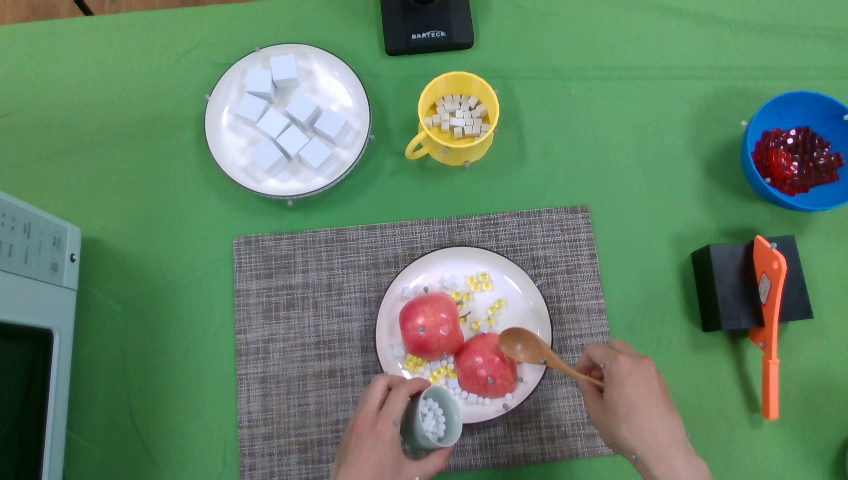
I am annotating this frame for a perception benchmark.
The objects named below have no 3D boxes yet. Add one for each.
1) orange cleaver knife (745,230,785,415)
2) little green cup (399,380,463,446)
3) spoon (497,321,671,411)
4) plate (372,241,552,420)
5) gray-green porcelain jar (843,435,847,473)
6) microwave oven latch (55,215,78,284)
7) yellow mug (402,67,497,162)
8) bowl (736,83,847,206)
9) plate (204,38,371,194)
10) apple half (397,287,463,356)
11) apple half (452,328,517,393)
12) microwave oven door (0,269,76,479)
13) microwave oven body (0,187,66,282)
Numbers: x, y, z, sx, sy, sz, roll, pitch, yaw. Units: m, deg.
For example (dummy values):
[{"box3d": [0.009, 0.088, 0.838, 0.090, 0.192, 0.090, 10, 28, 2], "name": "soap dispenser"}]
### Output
[{"box3d": [0.391, 0.095, 0.701, 0.012, 0.077, 0.212, -4, 102, 3], "name": "orange cleaver knife"}, {"box3d": [0.006, 0.180, 0.621, 0.062, 0.039, 0.061, 22, 47, -25], "name": "little green cup"}, {"box3d": [0.159, 0.133, 0.629, 0.192, 0.022, 0.042, 23, 114, 36], "name": "spoon"}, {"box3d": [0.043, 0.105, 0.716, 0.209, 0.038, 0.208, 0, 78, 0], "name": "plate"}, {"box3d": [0.533, 0.242, 0.649, 0.106, 0.127, 0.105, 0, 78, 0], "name": "gray-green porcelain jar"}, {"box3d": [-0.431, 0.011, 0.717, 0.030, 0.029, 0.079, -1, 79, -1], "name": "microwave oven latch"}, {"box3d": [0.026, -0.147, 0.758, 0.131, 0.064, 0.099, -37, 80, -7], "name": "yellow mug"}, {"box3d": [0.450, -0.106, 0.746, 0.151, 0.077, 0.150, 0, 78, 0], "name": "bowl"}, {"box3d": [-0.171, -0.155, 0.773, 0.208, 0.039, 0.206, 0, 78, 0], "name": "plate"}, {"box3d": [0.006, 0.093, 0.702, 0.074, 0.053, 0.080, -8, 79, 1], "name": "apple half"}, {"box3d": [0.071, 0.140, 0.702, 0.081, 0.033, 0.081, 0, 75, 0], "name": "apple half"}, {"box3d": [-0.423, 0.203, 0.573, 0.039, 0.245, 0.354, -3, 78, 0], "name": "microwave oven door"}, {"box3d": [-0.571, 0.169, 0.584, 0.326, 0.261, 0.439, -2, 79, -1], "name": "microwave oven body"}]
